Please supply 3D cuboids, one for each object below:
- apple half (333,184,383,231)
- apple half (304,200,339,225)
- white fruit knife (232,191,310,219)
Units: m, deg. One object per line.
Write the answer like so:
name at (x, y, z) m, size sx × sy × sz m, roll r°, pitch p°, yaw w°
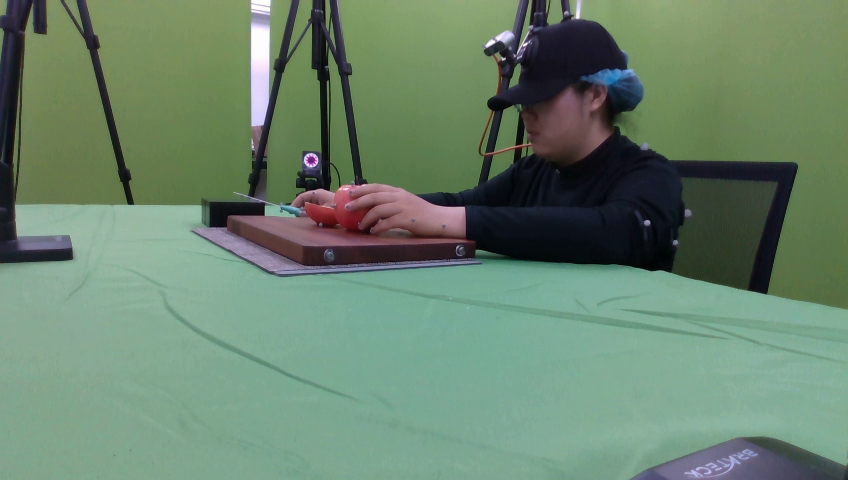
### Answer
apple half at (-0.097, -0.050, 0.948) m, size 0.081 × 0.074 × 0.053 m, roll 0°, pitch 12°, yaw -43°
apple half at (-0.163, -0.040, 1.000) m, size 0.081 × 0.033 × 0.081 m, roll 15°, pitch -2°, yaw 1°
white fruit knife at (-0.285, -0.066, 1.221) m, size 0.208 × 0.016 × 0.027 m, roll 16°, pitch -1°, yaw -30°
